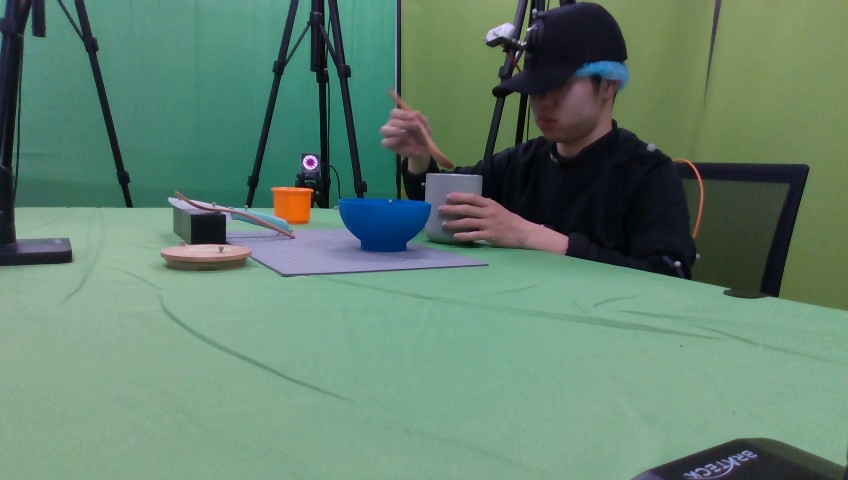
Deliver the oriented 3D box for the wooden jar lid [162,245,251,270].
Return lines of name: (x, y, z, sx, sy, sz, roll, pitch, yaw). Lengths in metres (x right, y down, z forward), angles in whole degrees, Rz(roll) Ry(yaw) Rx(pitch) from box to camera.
wooden jar lid: (-0.278, 0.022, 0.777, 0.108, 0.020, 0.108, 2, 6, 0)

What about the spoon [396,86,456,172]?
spoon: (0.002, -0.202, 1.098, 0.022, 0.193, 0.041, -27, -12, -11)

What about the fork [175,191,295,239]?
fork: (-0.305, -0.039, 0.993, 0.208, 0.018, 0.028, 19, -9, -34)

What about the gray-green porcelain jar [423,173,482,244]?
gray-green porcelain jar: (0.052, -0.059, 1.116, 0.106, 0.126, 0.106, 3, 7, 0)

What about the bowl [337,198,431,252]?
bowl: (-0.066, -0.024, 0.967, 0.151, 0.077, 0.151, 3, 7, 0)

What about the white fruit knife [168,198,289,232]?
white fruit knife: (-0.329, -0.044, 1.036, 0.208, 0.027, 0.016, 14, -1, -32)
